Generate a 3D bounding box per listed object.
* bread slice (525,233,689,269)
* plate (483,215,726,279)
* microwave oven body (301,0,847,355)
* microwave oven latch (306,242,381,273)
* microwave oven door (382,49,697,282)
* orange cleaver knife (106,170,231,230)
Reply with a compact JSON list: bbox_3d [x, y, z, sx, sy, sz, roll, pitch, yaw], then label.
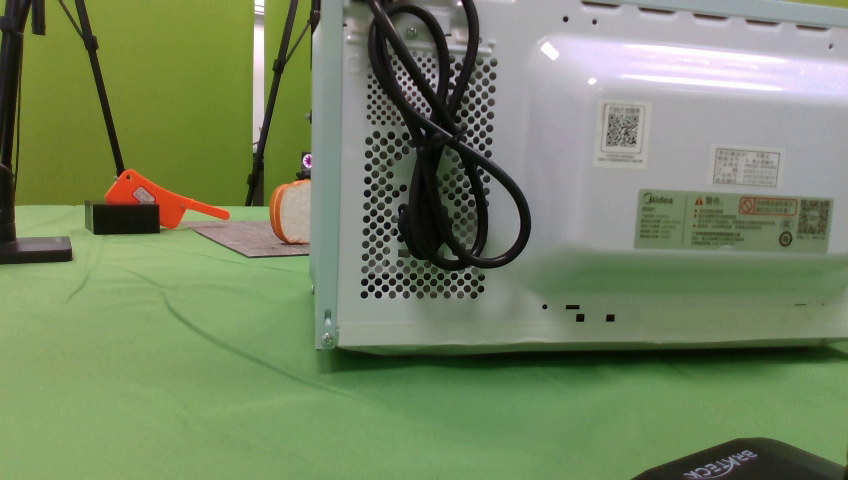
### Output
[{"bbox_3d":[0.175,0.009,0.565,0.134,0.018,0.107,-6,4,27],"label":"bread slice"},{"bbox_3d":[0.157,0.004,0.546,0.208,0.039,0.207,-2,7,1],"label":"plate"},{"bbox_3d":[0.120,-0.053,0.535,0.443,0.260,0.325,2,7,-11],"label":"microwave oven body"},{"bbox_3d":[-0.086,0.019,0.654,0.079,0.029,0.030,2,7,-8],"label":"microwave oven latch"},{"bbox_3d":[0.135,-0.077,0.685,0.357,0.243,0.039,1,8,-12],"label":"microwave oven door"},{"bbox_3d":[-0.457,-0.060,1.096,0.212,0.077,0.012,23,-4,-38],"label":"orange cleaver knife"}]
